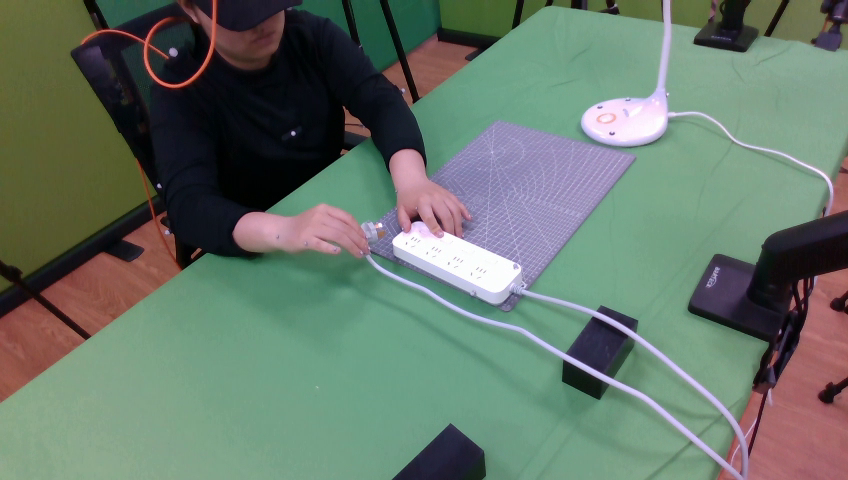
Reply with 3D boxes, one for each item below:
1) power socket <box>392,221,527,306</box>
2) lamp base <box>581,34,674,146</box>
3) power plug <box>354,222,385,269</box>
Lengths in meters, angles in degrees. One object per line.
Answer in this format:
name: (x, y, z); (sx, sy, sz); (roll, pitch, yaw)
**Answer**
power socket: (0.046, 0.031, 0.913); (0.225, 0.033, 0.072); (25, 51, 32)
lamp base: (0.392, -0.291, 1.129); (0.180, 0.181, 0.159); (-11, 41, -8)
power plug: (-0.079, 0.007, 0.928); (0.053, 0.072, 0.035); (-16, -4, -28)
